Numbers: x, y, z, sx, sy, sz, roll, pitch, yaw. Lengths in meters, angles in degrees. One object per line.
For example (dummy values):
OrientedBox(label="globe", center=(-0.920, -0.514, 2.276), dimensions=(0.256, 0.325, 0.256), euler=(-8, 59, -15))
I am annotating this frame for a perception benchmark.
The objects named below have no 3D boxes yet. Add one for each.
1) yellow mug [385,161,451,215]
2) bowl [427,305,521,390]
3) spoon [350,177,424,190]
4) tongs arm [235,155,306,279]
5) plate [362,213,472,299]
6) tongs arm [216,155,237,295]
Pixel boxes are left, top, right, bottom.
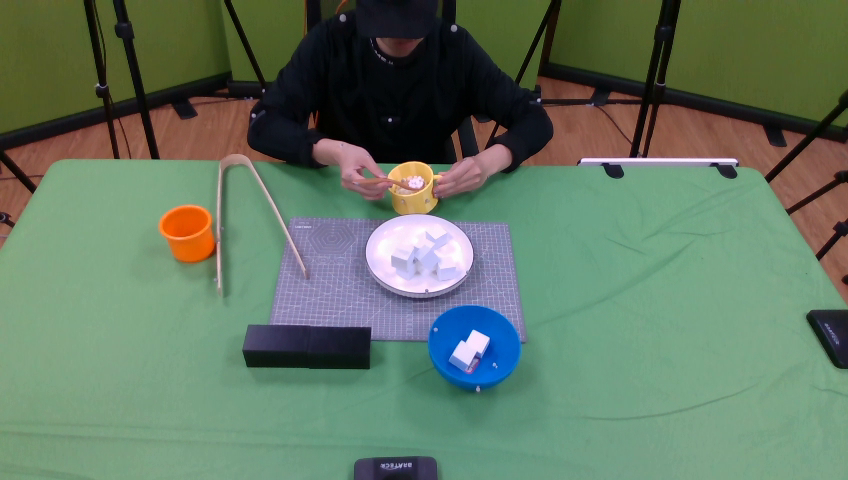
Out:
OrientedBox(label="yellow mug", center=(-0.010, -0.108, 1.252), dimensions=(0.131, 0.064, 0.099), euler=(-8, 50, 5))
OrientedBox(label="bowl", center=(0.076, 0.188, 0.985), dimensions=(0.151, 0.077, 0.150), euler=(3, 46, -3))
OrientedBox(label="spoon", center=(-0.071, -0.113, 1.186), dimensions=(0.041, 0.021, 0.194), euler=(35, 22, 36))
OrientedBox(label="tongs arm", center=(-0.312, -0.058, 1.225), dimensions=(0.028, 0.028, 0.385), euler=(-22, 50, -19))
OrientedBox(label="plate", center=(-0.013, 0.034, 1.150), dimensions=(0.208, 0.039, 0.206), euler=(2, 46, -2))
OrientedBox(label="tongs arm", center=(-0.388, -0.043, 1.201), dimensions=(0.051, 0.026, 0.382), euler=(-9, 46, -13))
